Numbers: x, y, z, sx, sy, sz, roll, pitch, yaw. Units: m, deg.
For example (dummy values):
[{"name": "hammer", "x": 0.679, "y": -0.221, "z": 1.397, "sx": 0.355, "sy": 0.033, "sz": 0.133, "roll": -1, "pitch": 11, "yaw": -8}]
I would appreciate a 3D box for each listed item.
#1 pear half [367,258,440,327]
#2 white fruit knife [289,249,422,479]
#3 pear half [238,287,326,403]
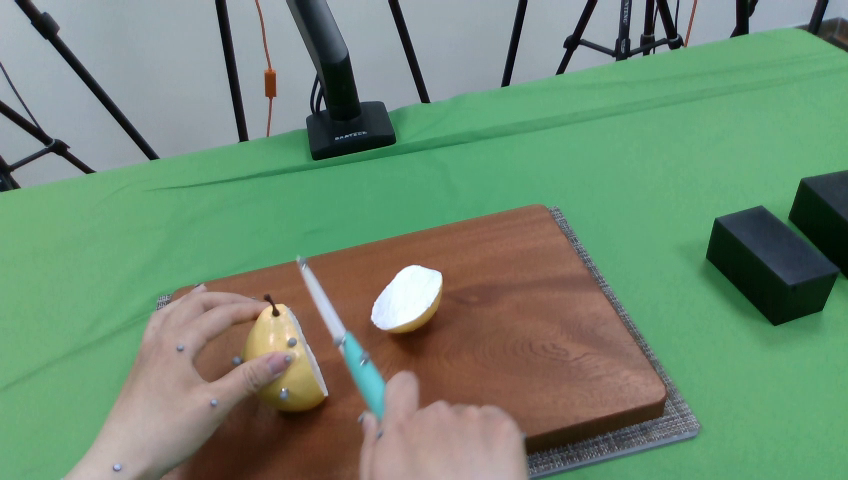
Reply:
[{"name": "pear half", "x": -0.014, "y": 0.051, "z": 0.541, "sx": 0.070, "sy": 0.031, "sz": 0.087, "roll": -18, "pitch": 25, "yaw": 13}, {"name": "white fruit knife", "x": -0.057, "y": 0.076, "z": 0.431, "sx": 0.016, "sy": 0.027, "sz": 0.205, "roll": -15, "pitch": 50, "yaw": -31}, {"name": "pear half", "x": -0.117, "y": 0.080, "z": 0.466, "sx": 0.056, "sy": 0.111, "sz": 0.075, "roll": -26, "pitch": 39, "yaw": -17}]
